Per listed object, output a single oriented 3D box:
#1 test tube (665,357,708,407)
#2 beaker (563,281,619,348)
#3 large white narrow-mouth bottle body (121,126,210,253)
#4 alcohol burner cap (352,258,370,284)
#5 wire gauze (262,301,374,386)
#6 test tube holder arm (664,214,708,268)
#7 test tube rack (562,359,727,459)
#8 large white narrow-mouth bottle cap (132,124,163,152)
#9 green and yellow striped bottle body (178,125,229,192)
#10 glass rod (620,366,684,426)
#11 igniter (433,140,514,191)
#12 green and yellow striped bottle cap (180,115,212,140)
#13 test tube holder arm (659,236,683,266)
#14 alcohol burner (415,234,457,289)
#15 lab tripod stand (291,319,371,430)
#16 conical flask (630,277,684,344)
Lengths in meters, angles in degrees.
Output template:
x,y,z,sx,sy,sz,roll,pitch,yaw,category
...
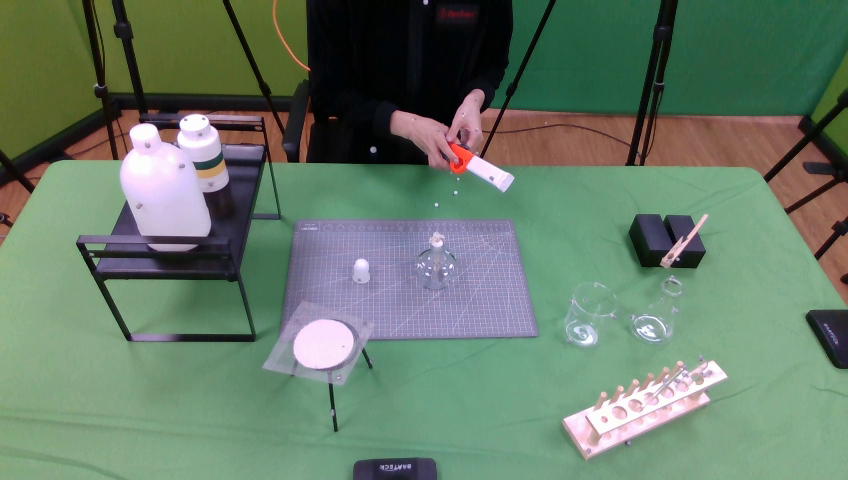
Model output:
x,y,z,sx,sy,sz,roll,pitch,yaw,category
0.387,0.216,0.905,0.017,0.151,0.017,1,53,-1,test tube
0.283,0.129,1.041,0.074,0.101,0.083,11,46,6,beaker
-0.378,-0.077,0.875,0.102,0.195,0.101,3,46,-3,large white narrow-mouth bottle body
-0.117,0.055,1.118,0.034,0.048,0.033,1,46,-1,alcohol burner cap
-0.150,0.148,0.873,0.121,0.011,0.124,14,46,12,wire gauze
0.507,-0.001,1.171,0.013,0.015,0.178,34,54,26,test tube holder arm
0.341,0.247,0.940,0.243,0.085,0.066,-16,49,-18,test tube rack
-0.371,-0.137,0.813,0.038,0.024,0.037,3,46,-3,large white narrow-mouth bottle cap
-0.361,-0.142,0.989,0.063,0.120,0.063,2,46,-2,green and yellow striped bottle body
0.322,0.227,0.866,0.008,0.200,0.008,5,51,-7,glass rod
0.083,-0.143,1.118,0.057,0.025,0.275,-55,31,4,igniter
-0.358,-0.177,0.951,0.045,0.020,0.045,2,45,-1,green and yellow striped bottle cap
0.472,0.020,1.149,0.010,0.015,0.088,35,54,27,test tube holder arm
0.022,0.033,1.099,0.078,0.120,0.077,1,47,0,alcohol burner
-0.146,0.193,0.923,0.148,0.132,0.147,1,47,-1,lab tripod stand
0.408,0.117,1.045,0.075,0.122,0.075,2,46,-2,conical flask
